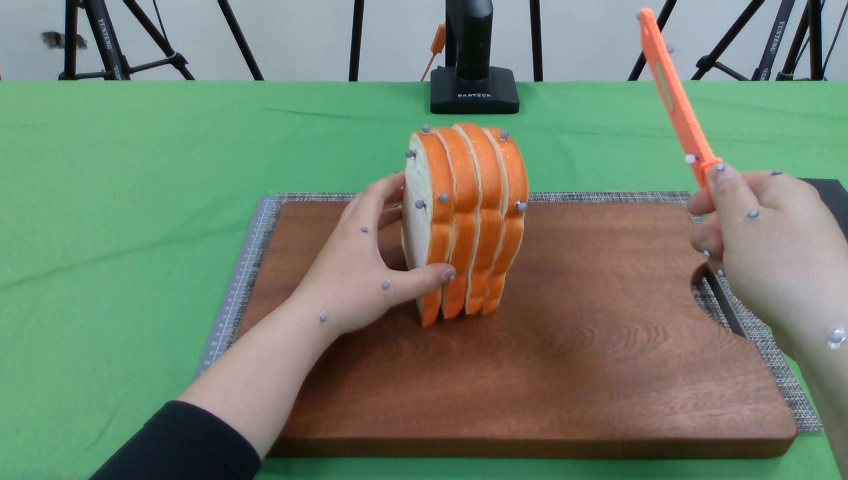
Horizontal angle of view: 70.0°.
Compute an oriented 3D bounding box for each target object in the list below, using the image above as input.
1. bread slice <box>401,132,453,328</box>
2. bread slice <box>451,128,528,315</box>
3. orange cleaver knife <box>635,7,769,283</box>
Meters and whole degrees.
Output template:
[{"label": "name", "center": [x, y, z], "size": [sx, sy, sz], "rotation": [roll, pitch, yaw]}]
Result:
[{"label": "bread slice", "center": [0.000, -0.016, 0.479], "size": [0.018, 0.135, 0.106], "rotation": [-5, 37, -12]}, {"label": "bread slice", "center": [0.051, -0.020, 0.485], "size": [0.019, 0.132, 0.103], "rotation": [-2, 42, -16]}, {"label": "orange cleaver knife", "center": [0.170, -0.063, 0.390], "size": [0.012, 0.078, 0.209], "rotation": [-18, 61, 14]}]
